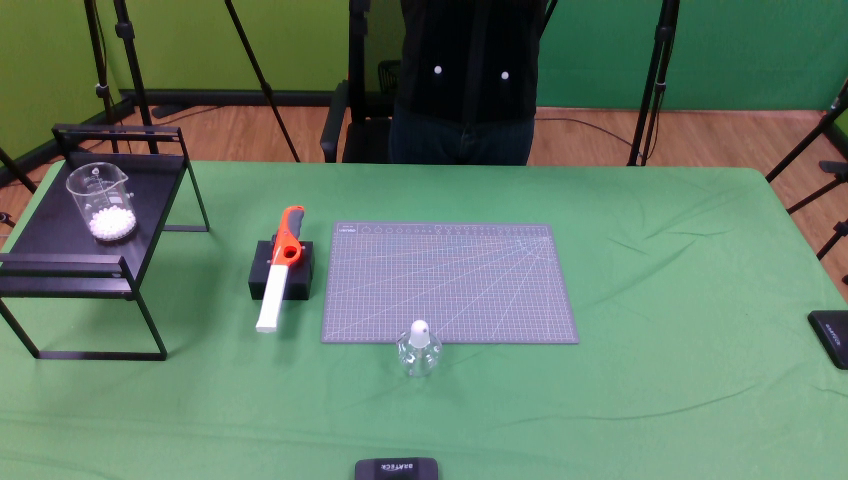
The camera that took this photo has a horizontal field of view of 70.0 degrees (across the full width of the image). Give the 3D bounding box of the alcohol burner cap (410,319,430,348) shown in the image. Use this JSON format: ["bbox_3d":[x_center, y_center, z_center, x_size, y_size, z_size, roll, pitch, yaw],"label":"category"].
[{"bbox_3d":[-0.007,0.144,0.950,0.034,0.048,0.033,1,47,-1],"label":"alcohol burner cap"}]

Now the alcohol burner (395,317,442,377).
[{"bbox_3d":[-0.009,0.166,0.972,0.078,0.120,0.077,1,45,0],"label":"alcohol burner"}]

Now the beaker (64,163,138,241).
[{"bbox_3d":[-0.477,-0.055,0.910,0.084,0.101,0.073,-9,48,-13],"label":"beaker"}]

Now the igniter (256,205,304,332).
[{"bbox_3d":[-0.252,0.040,1.070,0.057,0.025,0.275,3,50,-1],"label":"igniter"}]
